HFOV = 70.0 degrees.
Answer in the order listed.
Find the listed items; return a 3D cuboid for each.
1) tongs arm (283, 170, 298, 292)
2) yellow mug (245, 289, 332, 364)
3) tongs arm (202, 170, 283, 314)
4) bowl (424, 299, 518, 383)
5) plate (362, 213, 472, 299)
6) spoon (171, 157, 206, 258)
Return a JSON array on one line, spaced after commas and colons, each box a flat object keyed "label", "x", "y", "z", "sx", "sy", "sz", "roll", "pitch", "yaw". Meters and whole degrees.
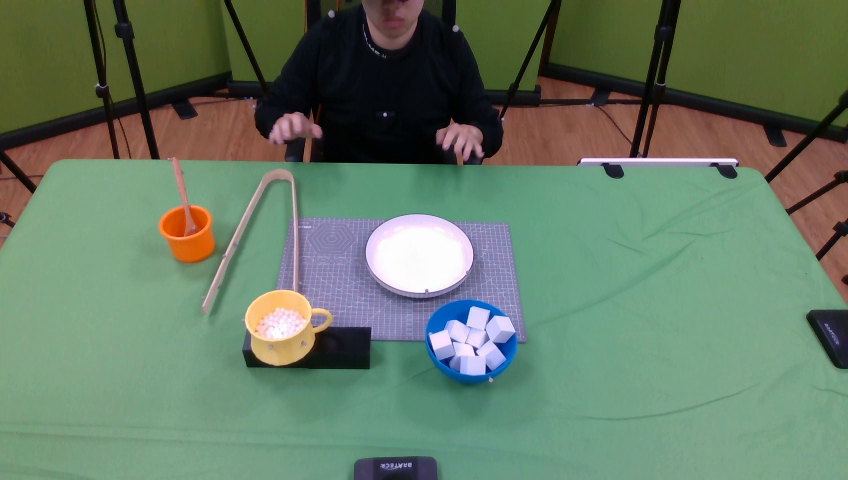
[{"label": "tongs arm", "x": -0.259, "y": -0.008, "z": 1.177, "sx": 0.028, "sy": 0.028, "sz": 0.385, "roll": -8, "pitch": 46, "yaw": -5}, {"label": "yellow mug", "x": -0.210, "y": 0.133, "z": 0.954, "sx": 0.131, "sy": 0.064, "sz": 0.099, "roll": -9, "pitch": 48, "yaw": -14}, {"label": "tongs arm", "x": -0.342, "y": -0.011, "z": 1.172, "sx": 0.051, "sy": 0.026, "sz": 0.382, "roll": 4, "pitch": 44, "yaw": 2}, {"label": "bowl", "x": 0.072, "y": 0.179, "z": 0.993, "sx": 0.151, "sy": 0.077, "sz": 0.150, "roll": 3, "pitch": 46, "yaw": -3}, {"label": "plate", "x": -0.014, "y": 0.034, "z": 1.150, "sx": 0.208, "sy": 0.039, "sz": 0.206, "roll": 3, "pitch": 46, "yaw": -2}, {"label": "spoon", "x": -0.444, "y": -0.061, "z": 1.133, "sx": 0.042, "sy": 0.193, "sz": 0.021, "roll": -12, "pitch": 4, "yaw": -20}]
